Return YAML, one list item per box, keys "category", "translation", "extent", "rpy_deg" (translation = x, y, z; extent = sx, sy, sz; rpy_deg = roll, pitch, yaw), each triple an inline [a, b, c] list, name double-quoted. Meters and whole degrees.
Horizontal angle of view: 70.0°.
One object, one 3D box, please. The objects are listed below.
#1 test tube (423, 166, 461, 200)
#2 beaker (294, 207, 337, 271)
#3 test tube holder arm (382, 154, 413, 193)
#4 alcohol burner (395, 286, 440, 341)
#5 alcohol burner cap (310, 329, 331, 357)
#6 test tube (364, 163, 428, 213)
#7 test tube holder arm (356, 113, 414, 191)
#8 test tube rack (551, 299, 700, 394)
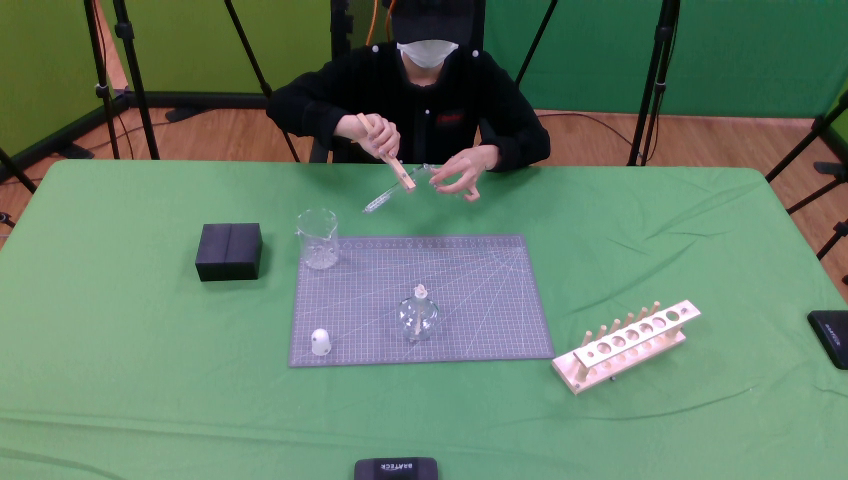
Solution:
- category: "test tube"
  translation: [0.037, -0.109, 1.185]
  extent: [0.017, 0.151, 0.017]
  rpy_deg: [-9, 69, 25]
- category: "beaker"
  translation: [-0.196, 0.003, 1.123]
  extent: [0.074, 0.101, 0.083]
  rpy_deg: [-23, 52, -24]
- category: "test tube holder arm"
  translation: [-0.048, -0.124, 1.101]
  extent: [0.015, 0.010, 0.087]
  rpy_deg: [-29, 80, -25]
- category: "alcohol burner"
  translation: [-0.010, 0.116, 1.018]
  extent: [0.078, 0.119, 0.077]
  rpy_deg: [3, 47, -3]
- category: "alcohol burner cap"
  translation: [-0.173, 0.168, 1.004]
  extent: [0.034, 0.048, 0.033]
  rpy_deg: [2, 46, -2]
- category: "test tube"
  translation: [-0.050, -0.094, 1.086]
  extent: [0.150, 0.017, 0.017]
  rpy_deg: [-39, 59, -24]
- category: "test tube holder arm"
  translation: [-0.072, -0.163, 1.105]
  extent: [0.015, 0.013, 0.178]
  rpy_deg: [-29, 77, -25]
- category: "test tube rack"
  translation: [0.339, 0.166, 1.021]
  extent: [0.242, 0.085, 0.066]
  rpy_deg: [-19, 50, -21]
